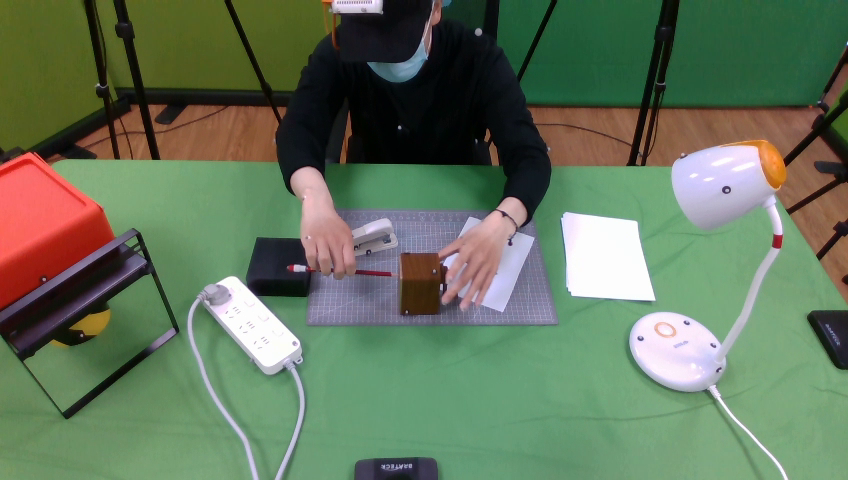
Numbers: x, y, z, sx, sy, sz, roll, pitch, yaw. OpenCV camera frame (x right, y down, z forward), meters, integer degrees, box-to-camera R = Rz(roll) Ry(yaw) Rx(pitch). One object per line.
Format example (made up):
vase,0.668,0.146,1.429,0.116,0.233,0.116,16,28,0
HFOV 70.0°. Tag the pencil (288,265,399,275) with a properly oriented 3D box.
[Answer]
pencil,-0.135,0.052,1.034,0.194,0.012,0.012,3,46,-1

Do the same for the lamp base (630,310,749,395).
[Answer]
lamp base,0.447,0.142,0.984,0.161,0.181,0.178,-24,55,-24

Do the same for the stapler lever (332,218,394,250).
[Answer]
stapler lever,-0.116,-0.012,1.162,0.118,0.040,0.026,-13,48,-14

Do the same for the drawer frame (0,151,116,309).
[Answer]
drawer frame,-0.604,-0.013,0.876,0.201,0.083,0.213,31,52,23

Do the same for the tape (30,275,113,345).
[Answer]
tape,-0.593,0.117,1.021,0.117,0.053,0.116,2,46,-2

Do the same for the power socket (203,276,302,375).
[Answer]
power socket,-0.297,0.141,1.034,0.072,0.033,0.225,-34,58,-30

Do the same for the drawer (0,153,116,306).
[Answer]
drawer,-0.601,-0.015,0.880,0.193,0.073,0.211,32,53,23

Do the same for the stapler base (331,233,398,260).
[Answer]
stapler base,-0.116,0.004,1.181,0.131,0.024,0.041,-13,48,-14

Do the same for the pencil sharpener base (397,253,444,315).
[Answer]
pencil sharpener base,-0.007,0.077,1.061,0.077,0.107,0.061,-1,46,-6

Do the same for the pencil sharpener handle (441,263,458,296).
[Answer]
pencil sharpener handle,0.045,0.070,1.054,0.031,0.068,0.036,-1,34,-6

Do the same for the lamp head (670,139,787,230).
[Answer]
lamp head,0.415,-0.079,0.812,0.113,0.123,0.112,12,70,-37

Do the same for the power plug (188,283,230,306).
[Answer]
power plug,-0.368,0.099,1.037,0.072,0.053,0.035,-24,52,-26
